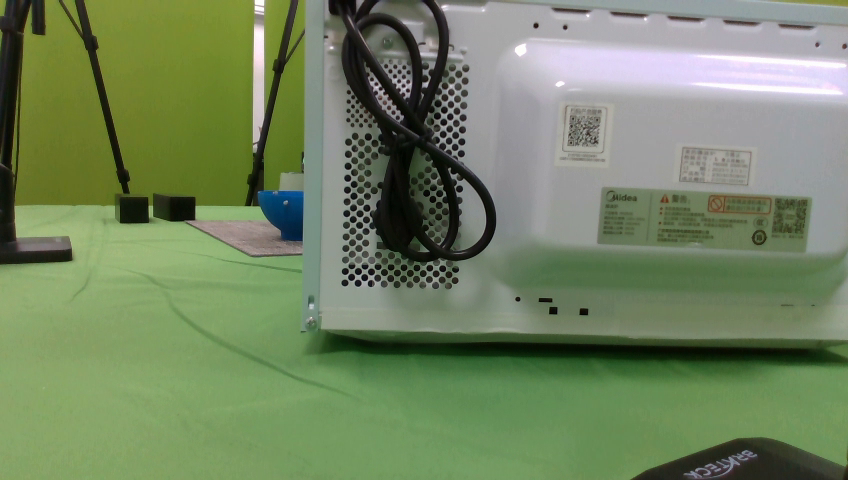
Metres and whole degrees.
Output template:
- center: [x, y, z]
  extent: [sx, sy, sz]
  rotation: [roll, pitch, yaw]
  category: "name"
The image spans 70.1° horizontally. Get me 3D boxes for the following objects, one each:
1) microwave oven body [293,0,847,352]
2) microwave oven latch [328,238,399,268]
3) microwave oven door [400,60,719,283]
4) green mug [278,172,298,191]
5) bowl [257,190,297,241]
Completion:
- center: [0.122, -0.055, 0.550]
  extent: [0.442, 0.260, 0.325]
  rotation: [3, 7, -4]
  category: "microwave oven body"
- center: [-0.069, 0.015, 0.694]
  extent: [0.079, 0.029, 0.030]
  rotation: [3, 6, -4]
  category: "microwave oven latch"
- center: [0.154, -0.078, 0.708]
  extent: [0.356, 0.243, 0.039]
  rotation: [3, 8, -1]
  category: "microwave oven door"
- center: [-0.250, -0.089, 1.279]
  extent: [0.092, 0.105, 0.126]
  rotation: [9, 9, 40]
  category: "green mug"
- center: [-0.206, -0.041, 1.027]
  extent: [0.151, 0.077, 0.151]
  rotation: [3, 8, 0]
  category: "bowl"
